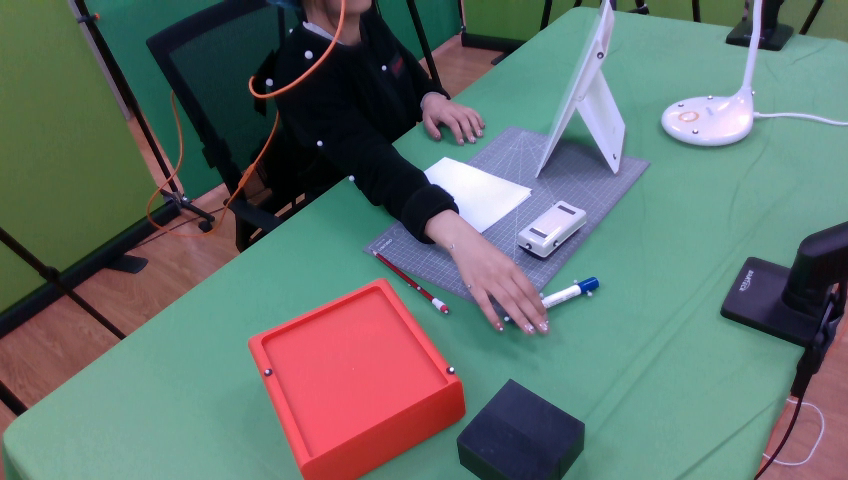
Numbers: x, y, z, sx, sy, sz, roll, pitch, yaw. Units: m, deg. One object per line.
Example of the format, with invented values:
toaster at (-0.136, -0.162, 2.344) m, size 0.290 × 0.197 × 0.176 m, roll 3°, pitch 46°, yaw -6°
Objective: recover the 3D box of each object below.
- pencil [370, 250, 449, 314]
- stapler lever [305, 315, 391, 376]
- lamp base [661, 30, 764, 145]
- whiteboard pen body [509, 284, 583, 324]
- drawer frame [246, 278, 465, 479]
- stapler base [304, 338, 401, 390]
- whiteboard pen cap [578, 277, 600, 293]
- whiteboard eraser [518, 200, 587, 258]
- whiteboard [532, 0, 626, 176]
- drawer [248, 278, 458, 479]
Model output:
pencil at (-0.028, 0.060, 0.924) m, size 0.012 × 0.012 × 0.192 m, roll -32°, pitch 45°, yaw -25°
stapler lever at (-0.100, 0.136, 0.790) m, size 0.118 × 0.040 × 0.026 m, roll -23°, pitch 43°, yaw -12°
lamp base at (0.535, -0.287, 1.095) m, size 0.179 × 0.181 × 0.159 m, roll -10°, pitch 40°, yaw -4°
whiteboard pen body at (0.181, 0.085, 0.846) m, size 0.141 × 0.017 × 0.017 m, roll -21°, pitch 42°, yaw -17°
drawer frame at (-0.088, 0.168, 0.752) m, size 0.202 × 0.083 × 0.211 m, roll -24°, pitch 43°, yaw -18°
stapler base at (-0.096, 0.159, 0.813) m, size 0.131 × 0.024 × 0.041 m, roll -17°, pitch 42°, yaw -18°
whiteboard pen cap at (0.233, 0.065, 0.864) m, size 0.033 × 0.018 × 0.018 m, roll -20°, pitch 41°, yaw -17°
whiteboard eraser at (0.201, -0.016, 0.943) m, size 0.113 × 0.042 × 0.055 m, roll -37°, pitch 46°, yaw -29°
whiteboard at (0.322, -0.258, 1.049) m, size 0.144 × 0.306 × 0.217 m, roll 21°, pitch 45°, yaw 5°
drawer at (-0.092, 0.167, 0.756) m, size 0.195 × 0.073 × 0.210 m, roll -24°, pitch 43°, yaw -18°
